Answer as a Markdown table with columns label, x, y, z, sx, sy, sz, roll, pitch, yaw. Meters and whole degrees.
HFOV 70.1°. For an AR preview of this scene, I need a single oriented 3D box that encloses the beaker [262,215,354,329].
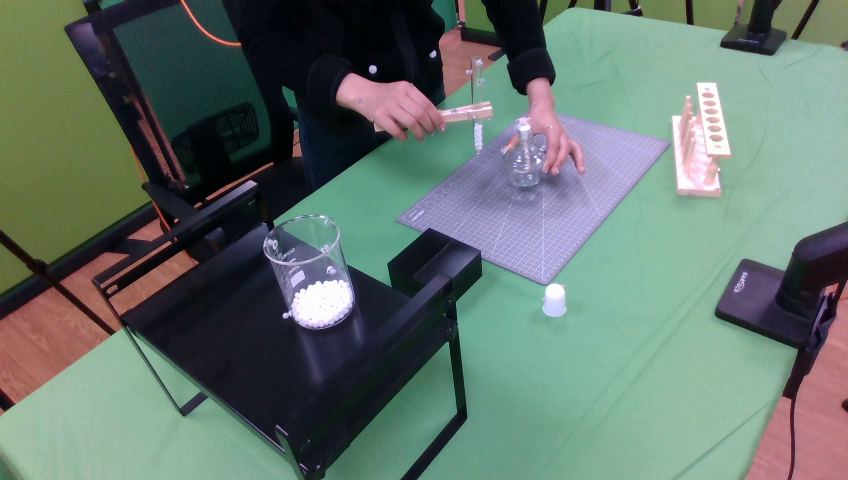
| label | x | y | z | sx | sy | sz | roll | pitch | yaw |
| --- | --- | --- | --- | --- | --- | --- | --- | --- | --- |
| beaker | -0.112 | 0.034 | 0.616 | 0.073 | 0.101 | 0.084 | 13 | 44 | 22 |

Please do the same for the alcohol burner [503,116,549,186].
| label | x | y | z | sx | sy | sz | roll | pitch | yaw |
| --- | --- | --- | --- | --- | --- | --- | --- | --- | --- |
| alcohol burner | 0.171 | -0.153 | 1.017 | 0.078 | 0.119 | 0.077 | -5 | 38 | 4 |

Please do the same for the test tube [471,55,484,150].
| label | x | y | z | sx | sy | sz | roll | pitch | yaw |
| --- | --- | --- | --- | --- | --- | --- | --- | --- | --- |
| test tube | 0.080 | -0.202 | 0.903 | 0.017 | 0.151 | 0.017 | -4 | 39 | 3 |

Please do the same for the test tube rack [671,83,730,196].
| label | x | y | z | sx | sy | sz | roll | pitch | yaw |
| --- | --- | --- | --- | --- | --- | --- | --- | --- | --- |
| test tube rack | 0.482 | -0.184 | 1.067 | 0.066 | 0.085 | 0.242 | 6 | 42 | 15 |

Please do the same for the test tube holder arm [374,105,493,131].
| label | x | y | z | sx | sy | sz | roll | pitch | yaw |
| --- | --- | --- | --- | --- | --- | --- | --- | --- | --- |
| test tube holder arm | 0.014 | -0.183 | 0.906 | 0.178 | 0.015 | 0.013 | -9 | 34 | 1 |

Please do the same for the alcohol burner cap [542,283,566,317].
| label | x | y | z | sx | sy | sz | roll | pitch | yaw |
| --- | --- | --- | --- | --- | --- | --- | --- | --- | --- |
| alcohol burner cap | 0.181 | 0.081 | 0.840 | 0.034 | 0.048 | 0.033 | -3 | 40 | 3 |

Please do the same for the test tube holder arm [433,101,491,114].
| label | x | y | z | sx | sy | sz | roll | pitch | yaw |
| --- | --- | --- | --- | --- | --- | --- | --- | --- | --- |
| test tube holder arm | 0.058 | -0.194 | 0.911 | 0.088 | 0.015 | 0.010 | -12 | 35 | -4 |
